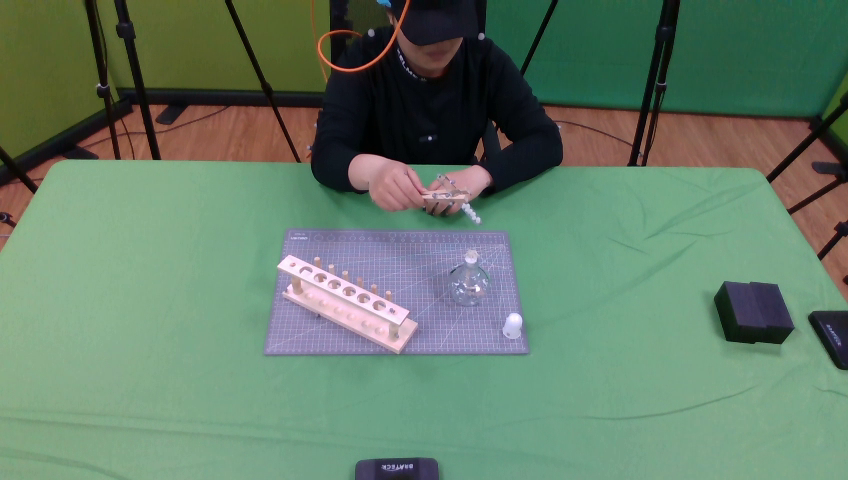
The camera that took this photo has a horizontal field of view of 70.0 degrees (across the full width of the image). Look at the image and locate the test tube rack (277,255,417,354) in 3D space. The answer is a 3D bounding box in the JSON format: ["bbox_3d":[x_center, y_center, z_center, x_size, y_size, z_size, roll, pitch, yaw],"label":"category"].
[{"bbox_3d":[-0.131,0.099,1.045,0.241,0.085,0.066,23,49,17],"label":"test tube rack"}]

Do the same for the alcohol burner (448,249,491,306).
[{"bbox_3d":[0.081,0.062,1.078,0.078,0.120,0.077,1,45,-1],"label":"alcohol burner"}]

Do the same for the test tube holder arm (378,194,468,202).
[{"bbox_3d":[-0.005,-0.071,1.025,0.178,0.015,0.013,1,60,33],"label":"test tube holder arm"}]

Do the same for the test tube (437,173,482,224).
[{"bbox_3d":[0.061,-0.065,1.004,0.017,0.151,0.017,-15,56,24],"label":"test tube"}]

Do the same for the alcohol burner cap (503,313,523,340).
[{"bbox_3d":[0.156,0.148,1.051,0.034,0.048,0.033,1,45,-1],"label":"alcohol burner cap"}]

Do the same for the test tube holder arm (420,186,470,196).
[{"bbox_3d":[0.034,-0.077,1.004,0.087,0.015,0.010,-6,57,30],"label":"test tube holder arm"}]
